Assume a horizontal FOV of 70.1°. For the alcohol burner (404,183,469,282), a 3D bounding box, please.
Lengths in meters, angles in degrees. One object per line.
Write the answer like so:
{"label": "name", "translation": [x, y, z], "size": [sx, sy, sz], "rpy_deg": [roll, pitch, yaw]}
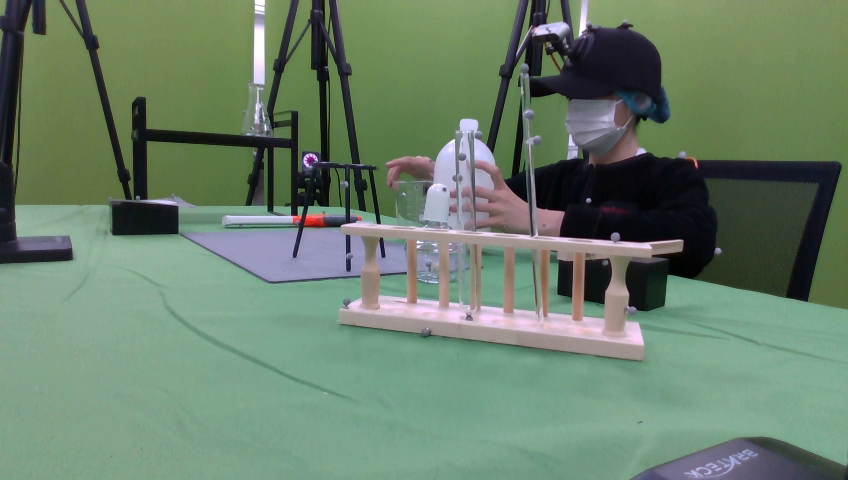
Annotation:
{"label": "alcohol burner", "translation": [0.015, -0.011, 0.715], "size": [0.078, 0.119, 0.078], "rpy_deg": [0, 7, 0]}

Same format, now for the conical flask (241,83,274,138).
{"label": "conical flask", "translation": [-0.384, -0.297, 1.393], "size": [0.075, 0.122, 0.075], "rpy_deg": [2, 7, 0]}

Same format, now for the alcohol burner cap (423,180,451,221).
{"label": "alcohol burner cap", "translation": [0.017, -0.047, 0.711], "size": [0.034, 0.048, 0.034], "rpy_deg": [8, 5, 0]}

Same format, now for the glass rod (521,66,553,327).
{"label": "glass rod", "translation": [0.085, -0.028, 0.454], "size": [0.008, 0.199, 0.008], "rpy_deg": [-7, 10, 2]}

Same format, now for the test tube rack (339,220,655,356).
{"label": "test tube rack", "translation": [0.056, 0.032, 0.495], "size": [0.242, 0.085, 0.067], "rpy_deg": [4, 7, 15]}

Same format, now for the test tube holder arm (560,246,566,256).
{"label": "test tube holder arm", "translation": [0.173, 0.007, 0.611], "size": [0.088, 0.015, 0.010], "rpy_deg": [-3, 9, -30]}

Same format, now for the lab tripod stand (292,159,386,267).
{"label": "lab tripod stand", "translation": [-0.105, -0.039, 0.798], "size": [0.148, 0.131, 0.148], "rpy_deg": [2, 5, 0]}

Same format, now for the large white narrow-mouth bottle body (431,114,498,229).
{"label": "large white narrow-mouth bottle body", "translation": [0.068, -0.103, 0.974], "size": [0.102, 0.194, 0.102], "rpy_deg": [5, 2, 0]}

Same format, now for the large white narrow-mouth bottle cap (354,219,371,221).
{"label": "large white narrow-mouth bottle cap", "translation": [-0.120, -0.029, 1.184], "size": [0.038, 0.024, 0.037], "rpy_deg": [2, 8, 0]}

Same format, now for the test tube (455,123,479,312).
{"label": "test tube", "translation": [0.034, -0.016, 0.476], "size": [0.017, 0.150, 0.017], "rpy_deg": [-2, 10, 1]}

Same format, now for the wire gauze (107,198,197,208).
{"label": "wire gauze", "translation": [-0.462, -0.064, 1.023], "size": [0.126, 0.011, 0.121], "rpy_deg": [-2, 7, -32]}

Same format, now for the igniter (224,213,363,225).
{"label": "igniter", "translation": [-0.255, -0.041, 1.210], "size": [0.278, 0.025, 0.057], "rpy_deg": [-2, -2, -31]}

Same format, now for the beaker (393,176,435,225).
{"label": "beaker", "translation": [-0.011, -0.062, 1.081], "size": [0.084, 0.100, 0.074], "rpy_deg": [-1, 10, 14]}

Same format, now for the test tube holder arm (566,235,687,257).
{"label": "test tube holder arm", "translation": [0.215, 0.006, 0.629], "size": [0.179, 0.015, 0.013], "rpy_deg": [-3, 9, -30]}
